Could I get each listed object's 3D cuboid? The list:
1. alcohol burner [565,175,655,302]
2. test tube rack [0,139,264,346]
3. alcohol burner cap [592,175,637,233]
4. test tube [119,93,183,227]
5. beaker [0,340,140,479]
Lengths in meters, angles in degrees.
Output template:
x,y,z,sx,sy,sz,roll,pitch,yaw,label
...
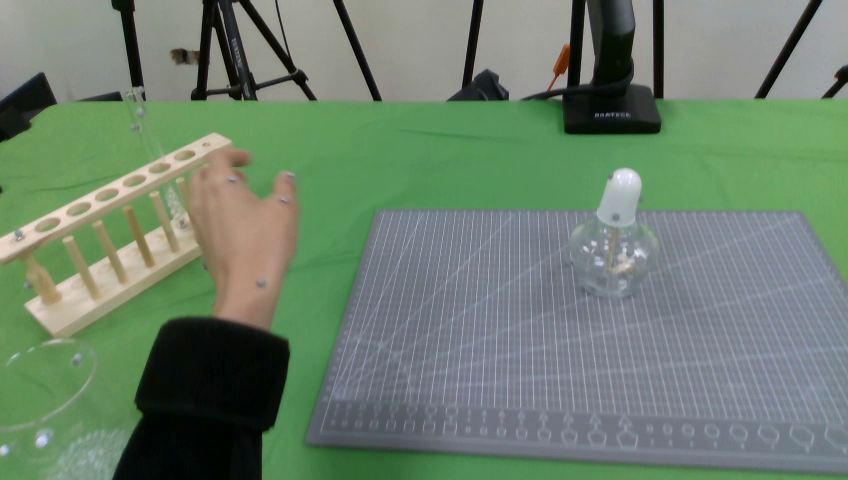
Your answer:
x,y,z,sx,sy,sz,roll,pitch,yaw,label
0.165,-0.004,0.533,0.078,0.120,0.077,-3,36,3,alcohol burner
-0.287,-0.007,0.612,0.066,0.086,0.242,26,47,32,test tube rack
0.163,-0.032,0.510,0.034,0.048,0.033,1,39,-1,alcohol burner cap
-0.276,-0.077,0.618,0.017,0.151,0.017,-4,36,3,test tube
-0.251,0.132,0.420,0.084,0.101,0.073,-14,39,-11,beaker
